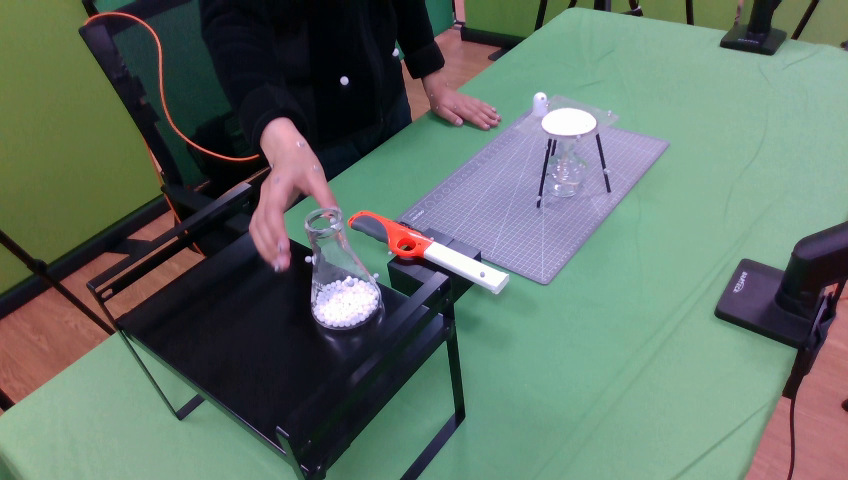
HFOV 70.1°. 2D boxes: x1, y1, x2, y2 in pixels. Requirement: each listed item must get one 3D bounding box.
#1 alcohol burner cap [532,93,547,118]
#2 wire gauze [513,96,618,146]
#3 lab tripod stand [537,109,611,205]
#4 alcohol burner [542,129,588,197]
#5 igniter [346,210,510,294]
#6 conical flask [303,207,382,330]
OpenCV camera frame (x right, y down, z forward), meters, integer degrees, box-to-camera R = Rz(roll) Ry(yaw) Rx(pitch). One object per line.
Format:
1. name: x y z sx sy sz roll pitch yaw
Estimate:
1. alcohol burner cap: 0.240 -0.281 1.251 0.034 0.048 0.033 -4 42 4
2. wire gauze: 0.229 -0.190 0.969 0.120 0.011 0.125 26 50 33
3. lab tripod stand: 0.244 -0.141 1.014 0.148 0.132 0.147 -3 39 3
4. alcohol burner: 0.239 -0.133 1.021 0.078 0.119 0.077 -4 38 4
5. igniter: -0.002 0.011 0.884 0.274 0.025 0.057 24 53 28
6. conical flask: -0.088 0.025 0.601 0.075 0.122 0.075 -5 40 5
